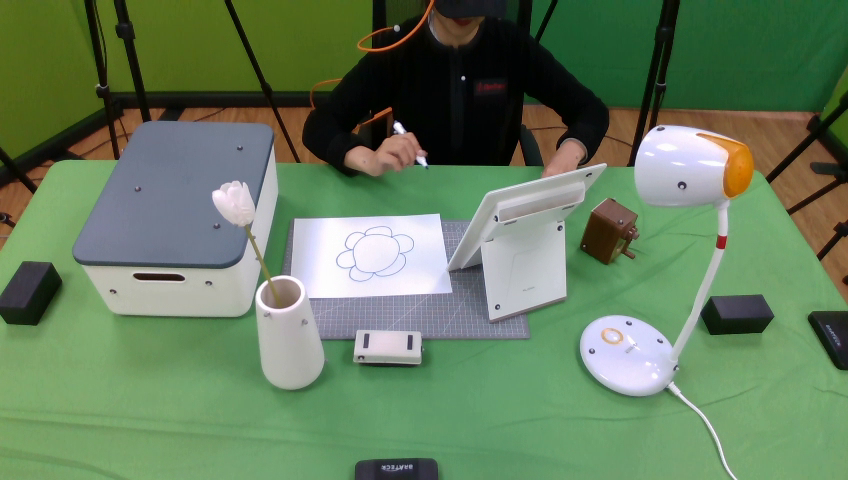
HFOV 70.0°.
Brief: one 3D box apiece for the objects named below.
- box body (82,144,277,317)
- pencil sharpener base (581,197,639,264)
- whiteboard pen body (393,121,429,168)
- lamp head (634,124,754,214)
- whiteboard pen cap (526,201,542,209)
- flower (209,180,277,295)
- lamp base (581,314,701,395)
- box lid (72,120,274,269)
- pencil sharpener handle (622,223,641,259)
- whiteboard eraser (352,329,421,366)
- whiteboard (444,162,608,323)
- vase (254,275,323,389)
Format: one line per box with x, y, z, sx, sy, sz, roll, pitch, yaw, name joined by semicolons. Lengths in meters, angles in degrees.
-0.421;-0.041;1.108;0.254;0.161;0.361;2;46;-3;box body
0.362;-0.017;1.179;0.076;0.107;0.061;37;54;27;pencil sharpener base
-0.025;-0.192;1.221;0.017;0.017;0.140;-21;59;-22;whiteboard pen body
0.351;-0.089;0.776;0.112;0.113;0.122;-30;30;-28;lamp head
0.233;-0.074;1.289;0.033;0.018;0.018;3;46;5;whiteboard pen cap
-0.217;0.075;0.871;0.044;0.363;0.038;-29;36;-19;flower
0.361;0.144;0.973;0.178;0.181;0.160;34;53;23;lamp base
-0.417;-0.094;1.056;0.263;0.015;0.369;1;47;-3;box lid
0.397;0.002;1.146;0.030;0.068;0.036;37;46;27;pencil sharpener handle
-0.061;0.180;1.005;0.113;0.042;0.055;3;48;-3;whiteboard eraser
0.186;0.025;1.029;0.217;0.306;0.143;-14;68;-17;whiteboard
-0.209;0.143;0.921;0.098;0.201;0.097;1;46;-1;vase
